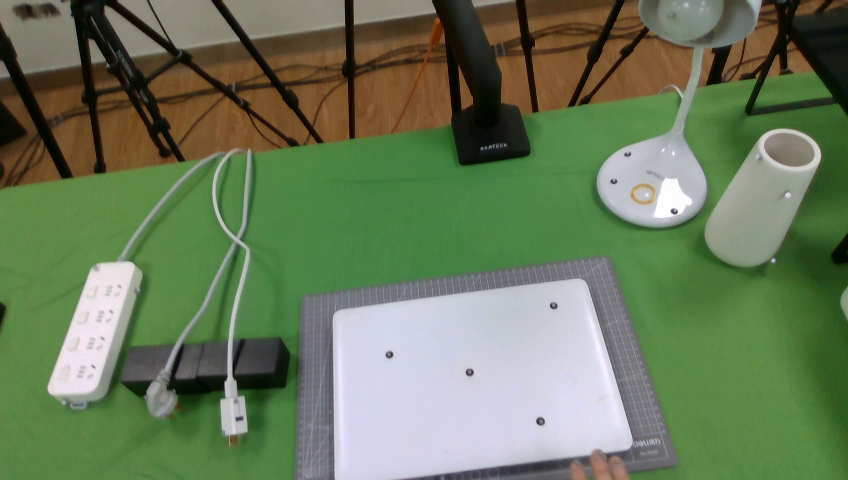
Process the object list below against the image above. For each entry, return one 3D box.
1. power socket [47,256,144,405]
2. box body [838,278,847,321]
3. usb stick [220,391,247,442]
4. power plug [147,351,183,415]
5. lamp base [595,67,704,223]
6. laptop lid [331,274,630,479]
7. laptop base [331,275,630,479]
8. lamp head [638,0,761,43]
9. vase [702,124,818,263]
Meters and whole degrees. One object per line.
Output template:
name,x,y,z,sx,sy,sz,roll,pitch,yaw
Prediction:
power socket,-0.458,0.118,0.854,0.072,0.033,0.224,-2,55,3
box body,0.660,0.152,0.644,0.254,0.162,0.360,-6,55,2
usb stick,-0.234,0.218,0.747,0.027,0.021,0.059,-11,79,33
power plug,-0.316,0.186,0.763,0.035,0.053,0.072,20,66,41
lamp base,0.343,-0.145,0.869,0.160,0.182,0.178,21,58,19
laptop lid,0.057,0.165,0.767,0.357,0.013,0.239,-6,58,1
laptop base,0.058,0.170,0.778,0.354,0.023,0.233,-8,59,0
lamp head,0.283,-0.273,0.598,0.112,0.113,0.122,18,77,17
vase,0.432,-0.056,0.787,0.098,0.202,0.097,-4,54,5
